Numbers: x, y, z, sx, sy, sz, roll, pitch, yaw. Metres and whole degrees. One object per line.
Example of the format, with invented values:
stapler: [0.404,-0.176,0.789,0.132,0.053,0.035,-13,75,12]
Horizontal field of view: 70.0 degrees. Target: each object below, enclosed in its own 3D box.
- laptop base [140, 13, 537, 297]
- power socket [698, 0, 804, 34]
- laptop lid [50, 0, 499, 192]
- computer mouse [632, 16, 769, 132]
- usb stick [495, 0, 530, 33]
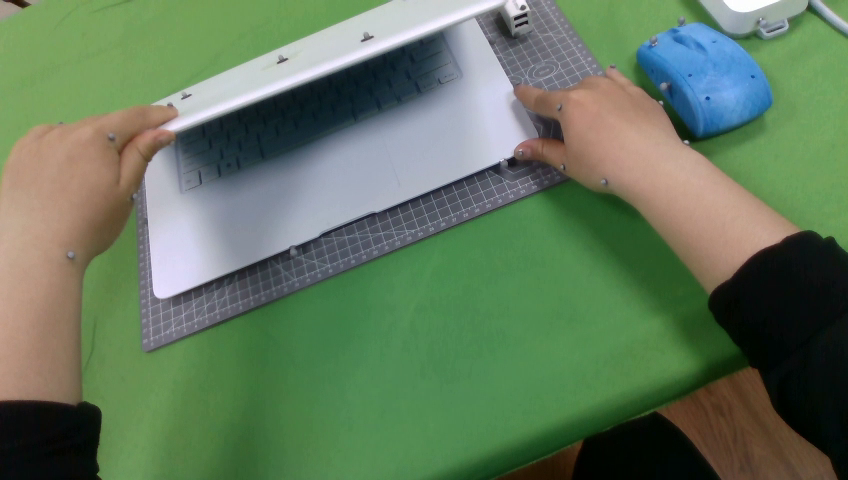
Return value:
laptop base: [-0.099,-0.106,0.568,0.354,0.023,0.233,-23,61,2]
power socket: [0.261,-0.273,0.553,0.072,0.033,0.224,-20,57,5]
laptop lid: [-0.121,-0.151,0.519,0.357,0.013,0.239,-22,28,4]
computer mouse: [0.218,-0.140,0.486,0.063,0.041,0.116,-23,53,5]
usb stick: [0.081,-0.229,0.581,0.021,0.027,0.058,-23,55,8]
